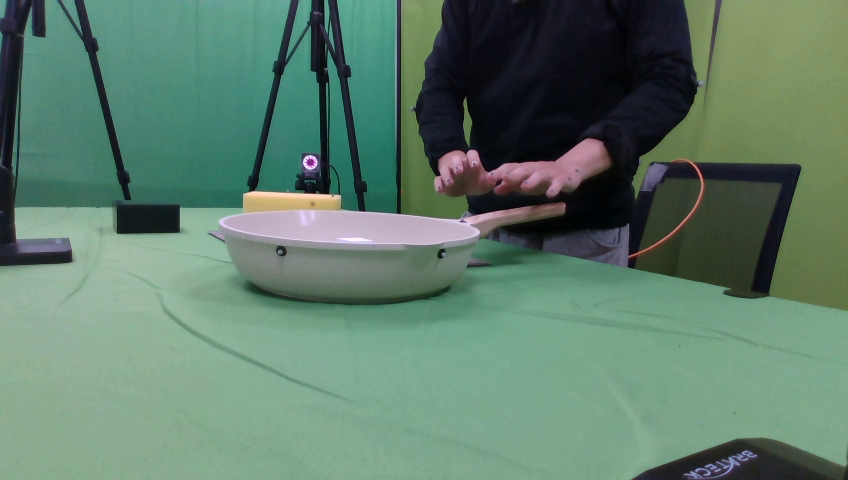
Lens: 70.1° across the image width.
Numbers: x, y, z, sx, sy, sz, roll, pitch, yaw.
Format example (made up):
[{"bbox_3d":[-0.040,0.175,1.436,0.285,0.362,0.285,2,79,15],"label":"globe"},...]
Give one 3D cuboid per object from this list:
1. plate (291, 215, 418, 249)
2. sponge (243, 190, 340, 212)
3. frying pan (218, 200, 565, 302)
[{"bbox_3d":[-0.115,-0.013,1.002,0.208,0.039,0.207,2,7,0],"label":"plate"},{"bbox_3d":[-0.298,-0.077,1.388,0.207,0.061,0.118,2,8,-7],"label":"sponge"},{"bbox_3d":[0.003,-0.010,0.754,0.490,0.102,0.305,-12,16,-32],"label":"frying pan"}]
